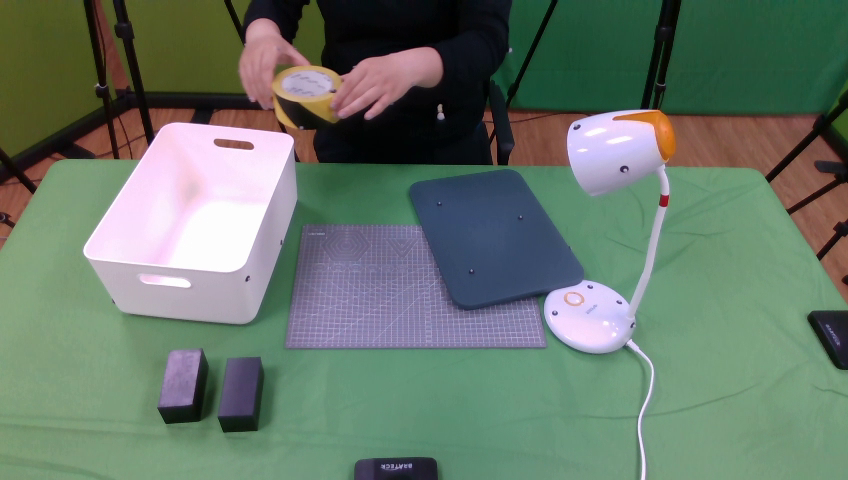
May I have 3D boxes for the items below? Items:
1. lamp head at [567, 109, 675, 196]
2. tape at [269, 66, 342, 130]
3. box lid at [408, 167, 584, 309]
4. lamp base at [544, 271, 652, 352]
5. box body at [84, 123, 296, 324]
[{"bbox_3d":[0.272,-0.123,0.818,0.122,0.113,0.112,-9,35,37],"label":"lamp head"},{"bbox_3d":[-0.192,-0.231,0.983,0.117,0.053,0.116,2,45,-2],"label":"tape"},{"bbox_3d":[0.133,-0.018,1.223,0.263,0.015,0.369,-11,45,-12],"label":"box lid"},{"bbox_3d":[0.309,0.086,1.029,0.178,0.181,0.160,32,52,21],"label":"lamp base"},{"bbox_3d":[-0.393,-0.035,1.104,0.254,0.161,0.362,5,46,1],"label":"box body"}]
